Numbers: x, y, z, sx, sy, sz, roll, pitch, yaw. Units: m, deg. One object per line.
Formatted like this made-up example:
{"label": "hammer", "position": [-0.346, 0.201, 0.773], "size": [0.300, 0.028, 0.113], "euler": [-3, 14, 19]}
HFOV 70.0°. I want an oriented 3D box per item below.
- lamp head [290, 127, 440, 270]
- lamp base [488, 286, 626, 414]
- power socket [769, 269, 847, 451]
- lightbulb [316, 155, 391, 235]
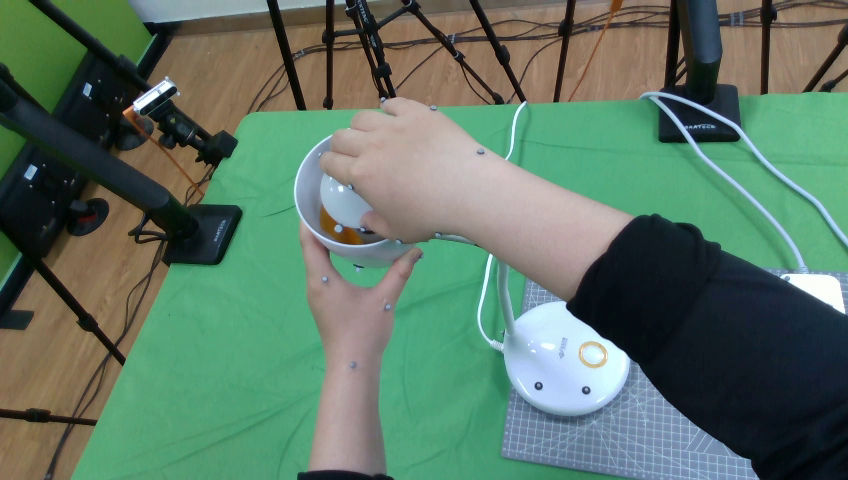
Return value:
{"label": "lamp head", "position": [-0.044, -0.022, 0.536], "size": [0.112, 0.124, 0.111], "euler": [-4, 66, 10]}
{"label": "lamp base", "position": [0.152, 0.110, 0.740], "size": [0.178, 0.182, 0.159], "euler": [-4, 56, 17]}
{"label": "power socket", "position": [0.465, 0.134, 0.724], "size": [0.072, 0.033, 0.225], "euler": [2, 57, 16]}
{"label": "lightbulb", "position": [-0.053, -0.030, 0.508], "size": [0.059, 0.108, 0.059], "euler": [-2, 72, 8]}
